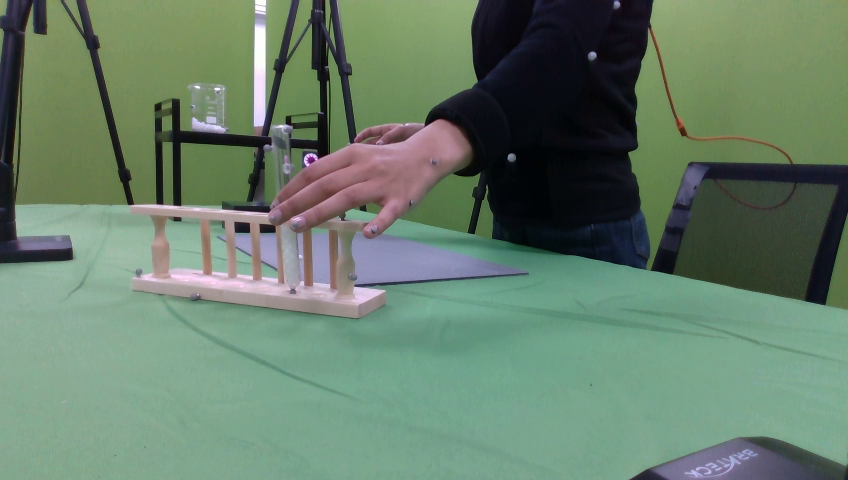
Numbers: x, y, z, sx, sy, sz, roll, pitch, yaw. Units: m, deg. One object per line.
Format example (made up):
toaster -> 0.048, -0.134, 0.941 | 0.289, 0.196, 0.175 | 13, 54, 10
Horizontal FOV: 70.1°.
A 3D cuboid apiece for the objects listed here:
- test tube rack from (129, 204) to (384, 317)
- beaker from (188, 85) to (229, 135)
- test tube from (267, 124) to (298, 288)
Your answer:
test tube rack -> -0.163, 0.013, 0.588 | 0.242, 0.085, 0.067 | 4, 9, 17
beaker -> -0.457, -0.275, 1.283 | 0.084, 0.100, 0.073 | -5, 9, -40
test tube -> -0.129, -0.030, 0.551 | 0.017, 0.150, 0.017 | -3, 9, 1
